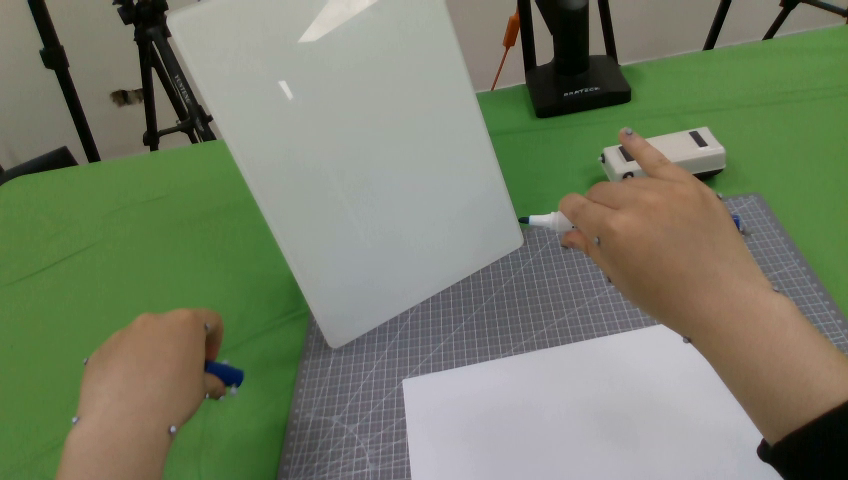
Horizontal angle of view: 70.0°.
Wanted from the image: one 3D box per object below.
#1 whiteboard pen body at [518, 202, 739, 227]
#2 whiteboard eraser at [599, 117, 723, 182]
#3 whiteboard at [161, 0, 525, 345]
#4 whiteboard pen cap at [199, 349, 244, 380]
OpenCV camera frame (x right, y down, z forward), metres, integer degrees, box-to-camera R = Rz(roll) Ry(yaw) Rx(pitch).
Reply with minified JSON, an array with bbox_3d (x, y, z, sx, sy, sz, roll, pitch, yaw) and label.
[{"bbox_3d":[0.134,-0.017,0.407,0.140,0.017,0.017,1,43,14],"label":"whiteboard pen body"},{"bbox_3d":[0.245,-0.092,0.631,0.112,0.042,0.055,-11,43,4],"label":"whiteboard eraser"},{"bbox_3d":[-0.070,-0.100,0.578,0.217,0.307,0.142,-28,22,-14],"label":"whiteboard"},{"bbox_3d":[-0.160,0.100,0.479,0.018,0.033,0.018,-26,45,29],"label":"whiteboard pen cap"}]
